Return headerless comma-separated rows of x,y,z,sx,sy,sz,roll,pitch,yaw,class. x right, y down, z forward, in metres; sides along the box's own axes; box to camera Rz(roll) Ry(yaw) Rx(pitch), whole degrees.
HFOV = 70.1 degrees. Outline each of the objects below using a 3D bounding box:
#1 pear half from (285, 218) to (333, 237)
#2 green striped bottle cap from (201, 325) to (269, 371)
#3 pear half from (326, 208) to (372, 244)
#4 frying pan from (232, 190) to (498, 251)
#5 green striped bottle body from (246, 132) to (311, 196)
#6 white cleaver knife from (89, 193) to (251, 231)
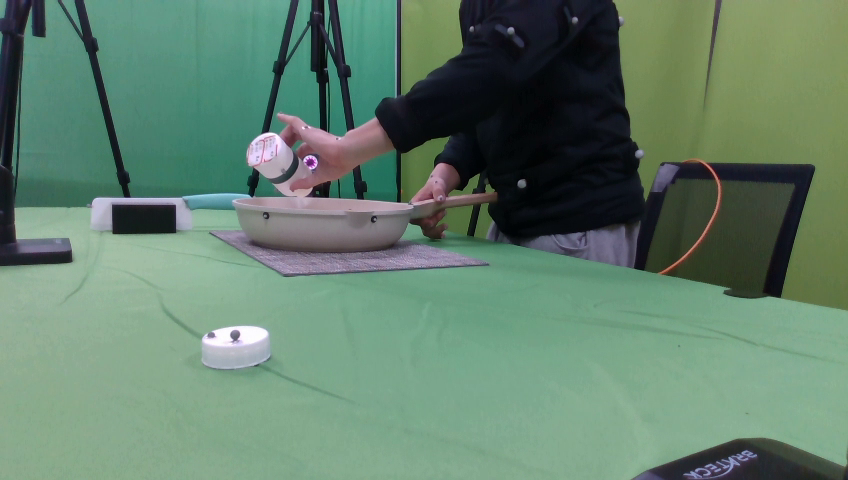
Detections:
-0.197,-0.023,1.053,0.088,0.031,0.070,-9,18,-44,pear half
-0.129,0.073,0.415,0.044,0.020,0.044,2,8,0,green striped bottle cap
-0.128,-0.026,1.017,0.076,0.056,0.109,6,5,-18,pear half
-0.073,-0.051,1.048,0.490,0.102,0.305,-11,13,-27,frying pan
-0.230,-0.117,0.987,0.063,0.063,0.120,6,-24,26,green striped bottle body
-0.454,-0.052,1.115,0.288,0.066,0.021,-4,14,-27,white cleaver knife
